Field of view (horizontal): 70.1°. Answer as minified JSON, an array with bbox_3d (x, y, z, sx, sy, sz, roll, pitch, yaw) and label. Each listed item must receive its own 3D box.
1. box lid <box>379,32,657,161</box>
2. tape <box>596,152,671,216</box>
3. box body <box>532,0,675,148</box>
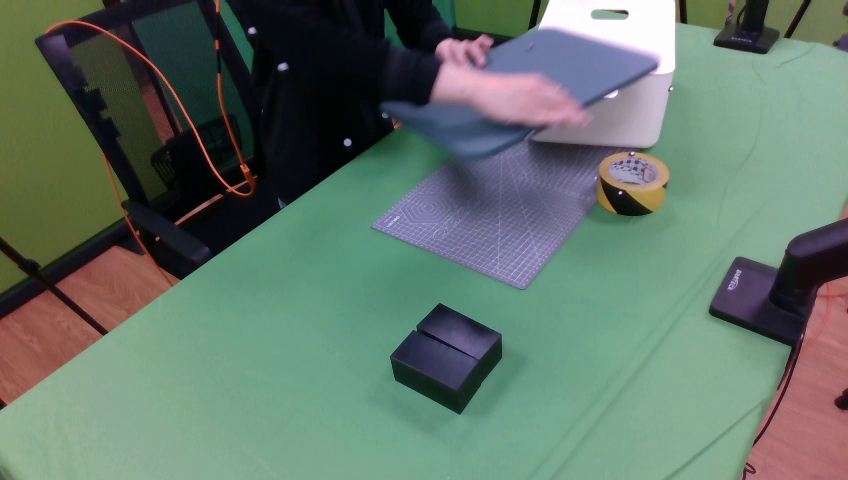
[{"bbox_3d":[0.138,-0.232,0.923,0.373,0.015,0.261,-29,40,-22],"label":"box lid"},{"bbox_3d":[0.349,-0.095,1.009,0.117,0.053,0.116,-3,42,3],"label":"tape"},{"bbox_3d":[0.356,-0.342,1.212,0.253,0.161,0.363,6,42,17],"label":"box body"}]
